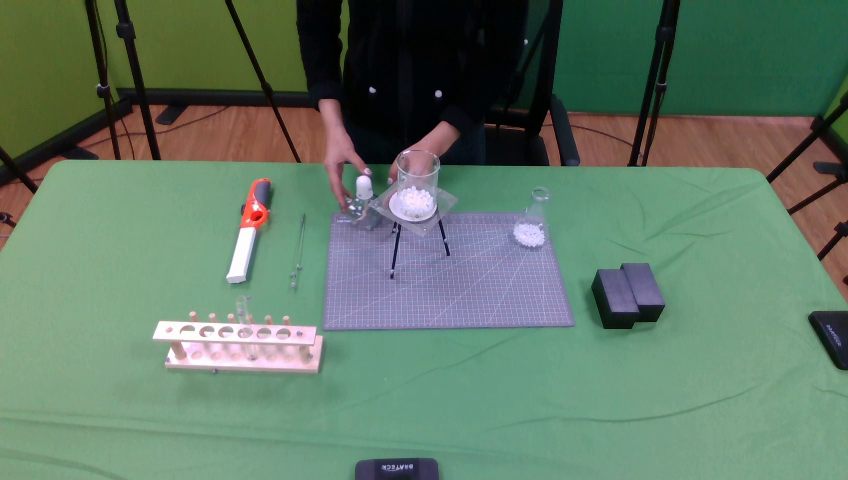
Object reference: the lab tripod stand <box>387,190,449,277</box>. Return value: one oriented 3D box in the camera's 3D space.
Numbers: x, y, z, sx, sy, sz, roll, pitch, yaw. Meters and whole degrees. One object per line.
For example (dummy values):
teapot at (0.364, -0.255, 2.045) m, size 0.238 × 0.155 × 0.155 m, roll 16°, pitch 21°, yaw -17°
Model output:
lab tripod stand at (-0.021, -0.018, 1.135) m, size 0.148 × 0.132 × 0.147 m, roll 3°, pitch 44°, yaw -3°

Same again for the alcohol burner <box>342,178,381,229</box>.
alcohol burner at (-0.123, -0.079, 1.199) m, size 0.078 × 0.119 × 0.077 m, roll 4°, pitch 46°, yaw -4°

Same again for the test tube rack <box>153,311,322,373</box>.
test tube rack at (-0.293, 0.160, 0.978) m, size 0.242 × 0.085 × 0.066 m, roll 3°, pitch 46°, yaw -2°

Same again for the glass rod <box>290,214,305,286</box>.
glass rod at (-0.245, 0.015, 1.176) m, size 0.008 × 0.008 × 0.198 m, roll 1°, pitch 43°, yaw -3°

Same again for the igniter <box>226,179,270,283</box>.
igniter at (-0.345, -0.027, 1.195) m, size 0.057 × 0.025 × 0.274 m, roll -6°, pitch 46°, yaw 5°

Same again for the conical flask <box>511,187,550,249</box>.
conical flask at (0.217, -0.048, 1.190) m, size 0.075 × 0.122 × 0.075 m, roll 2°, pitch 46°, yaw -2°

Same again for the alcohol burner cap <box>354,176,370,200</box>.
alcohol burner cap at (-0.121, -0.103, 1.172) m, size 0.034 × 0.048 × 0.033 m, roll 1°, pitch 53°, yaw -1°

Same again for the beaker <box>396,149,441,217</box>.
beaker at (-0.015, -0.098, 1.053) m, size 0.074 × 0.101 × 0.083 m, roll -31°, pitch 55°, yaw -30°

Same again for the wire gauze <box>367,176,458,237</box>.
wire gauze at (-0.020, -0.066, 1.089) m, size 0.124 × 0.011 × 0.121 m, roll 27°, pitch 47°, yaw 22°

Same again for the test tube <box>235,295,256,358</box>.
test tube at (-0.274, 0.136, 0.933) m, size 0.017 × 0.151 × 0.017 m, roll 4°, pitch 46°, yaw -4°
